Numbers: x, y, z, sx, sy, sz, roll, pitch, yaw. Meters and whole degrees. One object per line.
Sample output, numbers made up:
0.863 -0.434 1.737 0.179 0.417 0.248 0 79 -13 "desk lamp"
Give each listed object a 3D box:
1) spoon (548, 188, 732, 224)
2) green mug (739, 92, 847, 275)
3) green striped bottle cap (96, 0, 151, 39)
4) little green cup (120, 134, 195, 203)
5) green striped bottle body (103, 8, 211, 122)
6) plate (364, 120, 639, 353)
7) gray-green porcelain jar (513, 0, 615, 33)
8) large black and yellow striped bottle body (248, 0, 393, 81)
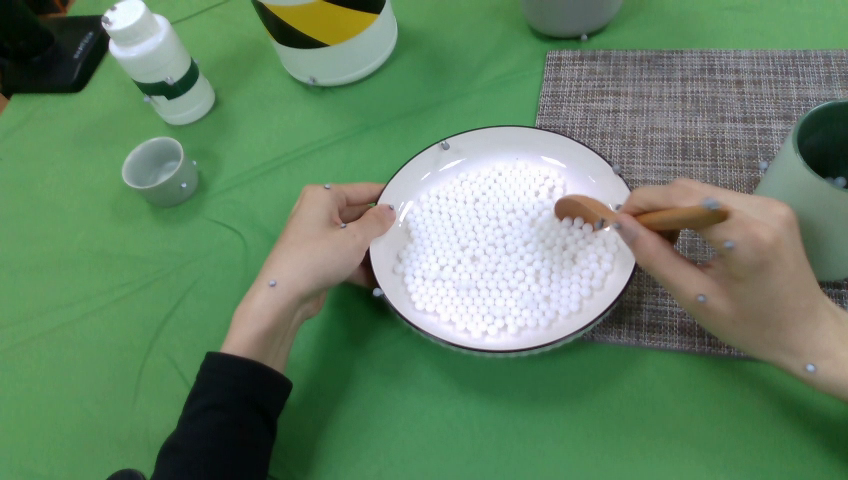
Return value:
0.129 -0.019 0.389 0.042 0.193 0.021 38 88 -11 "spoon"
0.287 -0.028 0.405 0.124 0.106 0.092 26 68 24 "green mug"
-0.279 -0.207 0.562 0.044 0.020 0.044 -3 61 7 "green striped bottle cap"
-0.254 -0.067 0.583 0.061 0.039 0.061 -5 58 9 "little green cup"
-0.269 -0.180 0.605 0.063 0.120 0.062 -5 58 9 "green striped bottle body"
0.058 -0.005 0.475 0.209 0.038 0.207 -4 58 7 "plate"
0.134 -0.272 0.573 0.106 0.128 0.105 -5 59 9 "gray-green porcelain jar"
-0.112 -0.261 0.582 0.130 0.186 0.129 -5 59 9 "large black and yellow striped bottle body"
